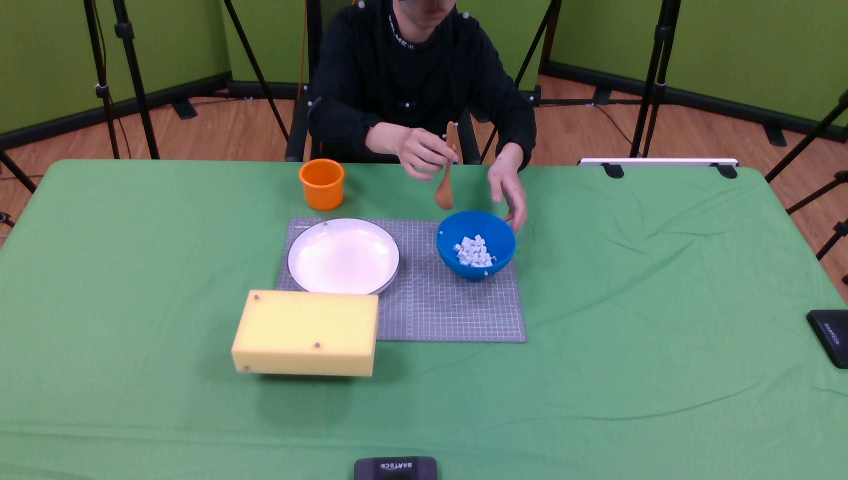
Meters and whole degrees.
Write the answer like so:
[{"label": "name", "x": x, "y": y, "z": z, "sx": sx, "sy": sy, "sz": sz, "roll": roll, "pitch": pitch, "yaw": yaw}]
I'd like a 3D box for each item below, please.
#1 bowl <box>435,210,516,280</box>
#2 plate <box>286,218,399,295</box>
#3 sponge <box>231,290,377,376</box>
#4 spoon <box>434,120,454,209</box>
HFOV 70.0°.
[{"label": "bowl", "x": 0.093, "y": 0.022, "z": 1.141, "sx": 0.151, "sy": 0.077, "sz": 0.150, "roll": 2, "pitch": 46, "yaw": -2}, {"label": "plate", "x": -0.150, "y": 0.041, "z": 1.131, "sx": 0.209, "sy": 0.038, "sz": 0.208, "roll": 2, "pitch": 45, "yaw": -2}, {"label": "sponge", "x": -0.180, "y": 0.145, "z": 0.949, "sx": 0.207, "sy": 0.061, "sz": 0.117, "roll": 2, "pitch": 46, "yaw": -2}, {"label": "spoon", "x": 0.041, "y": -0.131, "z": 1.079, "sx": 0.041, "sy": 0.194, "sz": 0.021, "roll": 23, "pitch": 44, "yaw": 22}]
